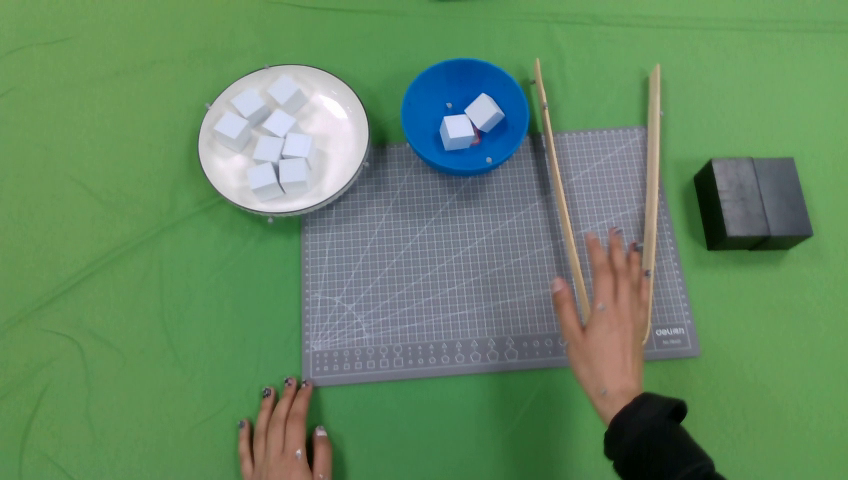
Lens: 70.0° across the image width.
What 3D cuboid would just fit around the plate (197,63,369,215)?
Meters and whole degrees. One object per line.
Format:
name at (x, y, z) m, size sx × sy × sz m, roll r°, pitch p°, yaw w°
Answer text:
plate at (-0.171, -0.123, 0.752) m, size 0.208 × 0.039 × 0.206 m, roll 0°, pitch 70°, yaw 1°

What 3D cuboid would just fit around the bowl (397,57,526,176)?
bowl at (0.044, -0.136, 0.737) m, size 0.151 × 0.077 × 0.150 m, roll 0°, pitch 70°, yaw -1°

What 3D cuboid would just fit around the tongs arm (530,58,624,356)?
tongs arm at (0.179, -0.052, 0.731) m, size 0.051 × 0.026 × 0.382 m, roll -3°, pitch 71°, yaw -6°

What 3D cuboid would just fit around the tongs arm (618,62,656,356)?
tongs arm at (0.263, -0.050, 0.735) m, size 0.028 × 0.028 × 0.385 m, roll 11°, pitch 71°, yaw -4°
